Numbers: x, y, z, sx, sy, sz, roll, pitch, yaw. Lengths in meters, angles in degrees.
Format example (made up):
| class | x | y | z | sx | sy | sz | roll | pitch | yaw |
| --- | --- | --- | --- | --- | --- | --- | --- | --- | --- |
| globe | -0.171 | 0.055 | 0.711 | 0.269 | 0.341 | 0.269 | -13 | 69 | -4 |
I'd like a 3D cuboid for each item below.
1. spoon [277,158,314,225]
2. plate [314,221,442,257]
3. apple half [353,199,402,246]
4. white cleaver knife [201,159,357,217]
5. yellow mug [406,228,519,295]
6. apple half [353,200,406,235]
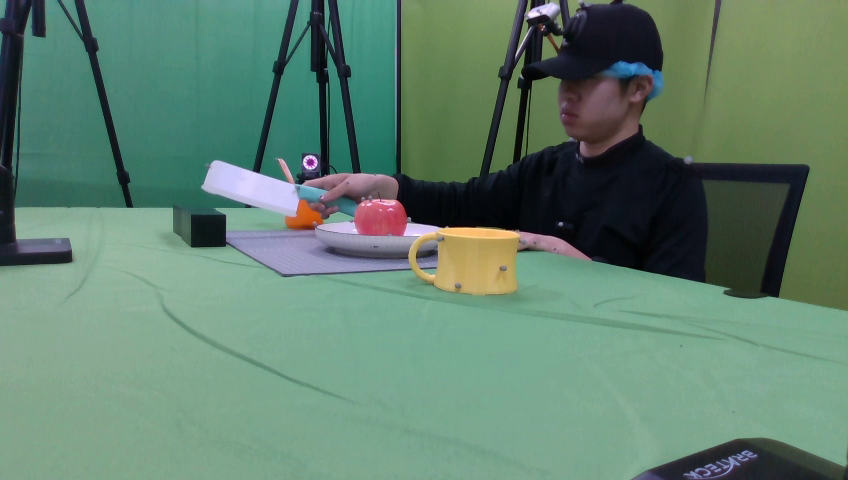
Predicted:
| class | x | y | z | sx | sy | sz | roll | pitch | yaw |
| --- | --- | --- | --- | --- | --- | --- | --- | --- | --- |
| spoon | -0.272 | -0.103 | 1.260 | 0.042 | 0.193 | 0.021 | -6 | -33 | -32 |
| plate | -0.067 | -0.002 | 0.948 | 0.209 | 0.038 | 0.209 | 3 | 7 | 0 |
| apple half | -0.076 | -0.029 | 0.946 | 0.081 | 0.081 | 0.032 | 0 | 12 | -18 |
| white cleaver knife | -0.252 | -0.078 | 1.095 | 0.288 | 0.066 | 0.021 | 15 | -8 | -27 |
| yellow mug | 0.044 | 0.022 | 0.707 | 0.131 | 0.064 | 0.100 | 2 | 7 | 4 |
| apple half | -0.064 | -0.023 | 0.909 | 0.081 | 0.074 | 0.053 | 4 | 11 | -17 |
